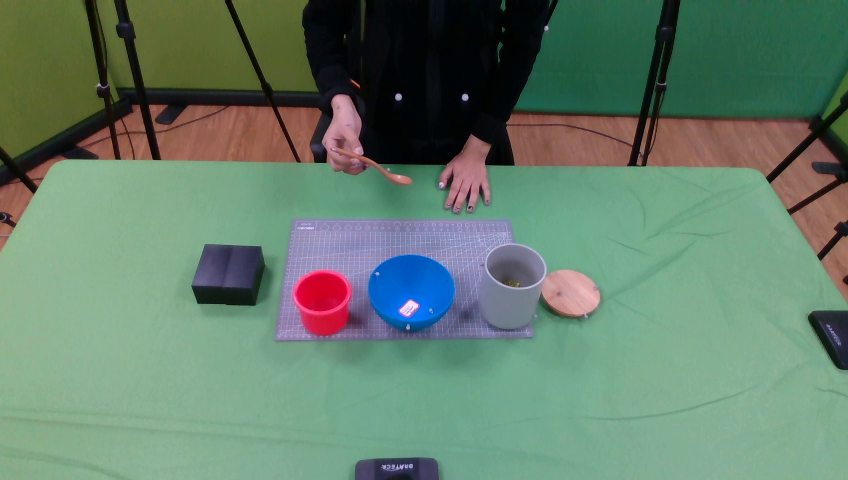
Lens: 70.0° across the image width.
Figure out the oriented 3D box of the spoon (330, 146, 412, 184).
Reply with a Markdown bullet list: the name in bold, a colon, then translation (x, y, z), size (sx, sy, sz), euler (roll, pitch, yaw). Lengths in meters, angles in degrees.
- **spoon**: translation (-0.094, -0.138, 1.101), size (0.195, 0.021, 0.041), euler (23, 16, -45)

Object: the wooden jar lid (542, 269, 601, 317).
- **wooden jar lid**: translation (0.272, 0.100, 1.121), size (0.108, 0.021, 0.107), euler (2, 46, -2)

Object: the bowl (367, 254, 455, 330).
- **bowl**: translation (-0.023, 0.104, 1.053), size (0.151, 0.077, 0.150), euler (2, 46, -2)

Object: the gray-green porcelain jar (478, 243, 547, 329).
- **gray-green porcelain jar**: translation (0.150, 0.085, 1.049), size (0.106, 0.127, 0.105), euler (2, 46, -2)
